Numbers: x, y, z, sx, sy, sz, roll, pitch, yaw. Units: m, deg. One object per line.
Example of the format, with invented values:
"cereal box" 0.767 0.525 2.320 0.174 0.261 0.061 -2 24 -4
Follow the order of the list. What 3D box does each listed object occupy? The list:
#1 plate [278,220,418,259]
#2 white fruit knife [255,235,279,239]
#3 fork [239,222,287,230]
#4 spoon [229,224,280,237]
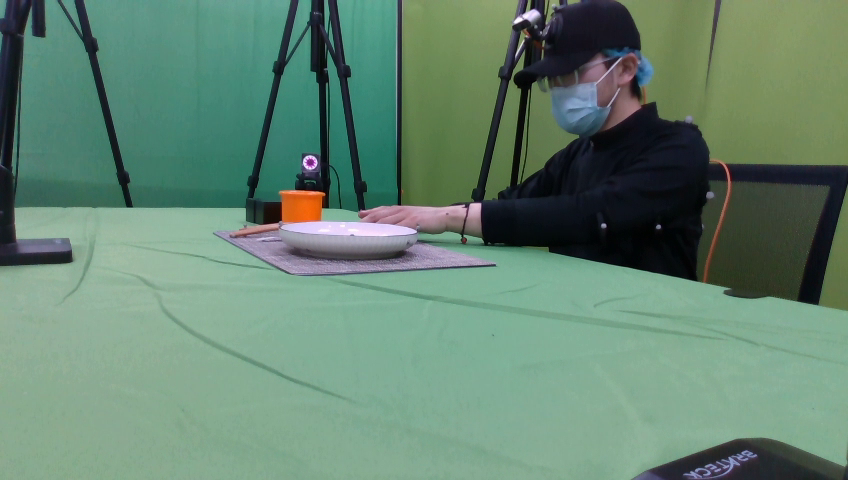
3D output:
"plate" -0.114 -0.002 0.914 0.209 0.038 0.209 2 7 0
"white fruit knife" -0.197 -0.012 1.048 0.208 0.016 0.027 -6 -2 -44
"fork" -0.241 -0.025 1.125 0.208 0.018 0.028 -1 16 -35
"spoon" -0.248 -0.020 1.071 0.195 0.021 0.041 -3 24 -36
